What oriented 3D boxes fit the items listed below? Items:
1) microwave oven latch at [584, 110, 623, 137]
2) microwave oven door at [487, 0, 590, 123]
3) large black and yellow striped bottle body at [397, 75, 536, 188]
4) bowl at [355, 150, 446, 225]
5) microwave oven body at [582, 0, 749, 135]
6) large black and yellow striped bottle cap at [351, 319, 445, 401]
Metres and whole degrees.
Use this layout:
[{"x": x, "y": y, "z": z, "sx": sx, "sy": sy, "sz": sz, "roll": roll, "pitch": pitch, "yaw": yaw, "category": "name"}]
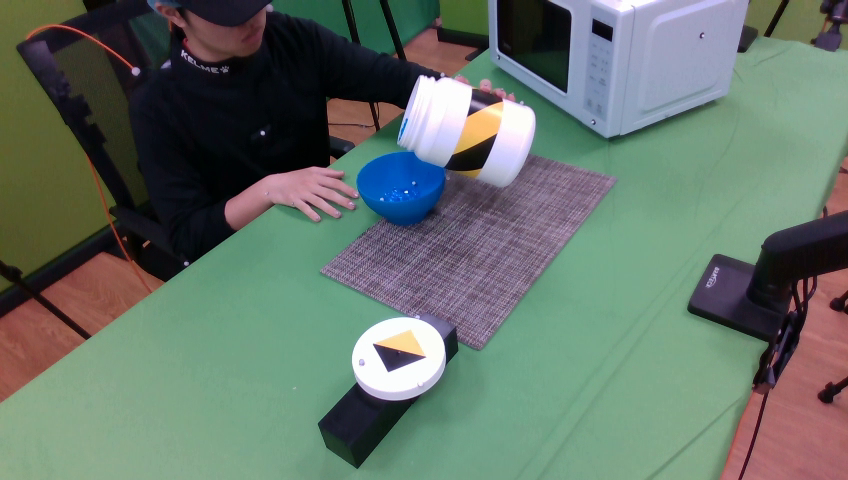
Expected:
[{"x": 0.337, "y": -0.222, "z": 1.142, "sx": 0.030, "sy": 0.029, "sz": 0.078, "roll": -21, "pitch": 42, "yaw": -14, "category": "microwave oven latch"}, {"x": 0.232, "y": -0.420, "z": 1.231, "sx": 0.039, "sy": 0.245, "sz": 0.352, "roll": -22, "pitch": 43, "yaw": -16, "category": "microwave oven door"}, {"x": 0.062, "y": -0.167, "z": 0.918, "sx": 0.185, "sy": 0.130, "sz": 0.130, "roll": 18, "pitch": 40, "yaw": -10, "category": "large black and yellow striped bottle body"}, {"x": -0.035, "y": -0.078, "z": 1.017, "sx": 0.151, "sy": 0.077, "sz": 0.150, "roll": -4, "pitch": 41, "yaw": 4, "category": "bowl"}, {"x": 0.382, "y": -0.444, "z": 1.246, "sx": 0.327, "sy": 0.261, "sz": 0.437, "roll": -22, "pitch": 42, "yaw": -16, "category": "microwave oven body"}, {"x": -0.031, "y": 0.143, "z": 0.735, "sx": 0.115, "sy": 0.019, "sz": 0.114, "roll": -3, "pitch": 40, "yaw": 3, "category": "large black and yellow striped bottle cap"}]
